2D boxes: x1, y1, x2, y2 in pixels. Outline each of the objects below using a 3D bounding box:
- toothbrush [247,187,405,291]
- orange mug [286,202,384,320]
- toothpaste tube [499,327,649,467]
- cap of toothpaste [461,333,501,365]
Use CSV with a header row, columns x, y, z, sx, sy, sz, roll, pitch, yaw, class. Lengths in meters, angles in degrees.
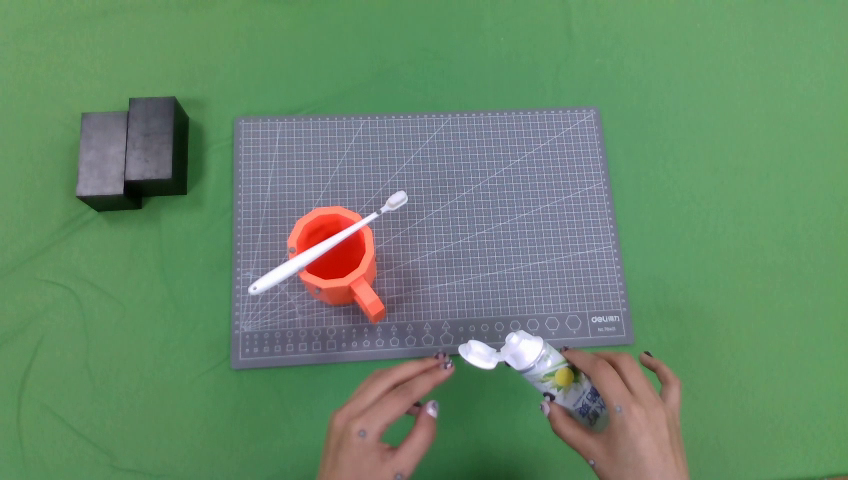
x,y,z,sx,sy,sz,roll,pitch,yaw,class
-0.094,-0.002,0.597,0.182,0.017,0.014,-33,84,-11,toothbrush
-0.086,0.029,0.643,0.083,0.101,0.125,-36,75,-12,orange mug
0.128,0.132,0.524,0.166,0.034,0.055,40,85,-14,toothpaste tube
0.048,0.091,0.509,0.037,0.037,0.011,25,111,3,cap of toothpaste
